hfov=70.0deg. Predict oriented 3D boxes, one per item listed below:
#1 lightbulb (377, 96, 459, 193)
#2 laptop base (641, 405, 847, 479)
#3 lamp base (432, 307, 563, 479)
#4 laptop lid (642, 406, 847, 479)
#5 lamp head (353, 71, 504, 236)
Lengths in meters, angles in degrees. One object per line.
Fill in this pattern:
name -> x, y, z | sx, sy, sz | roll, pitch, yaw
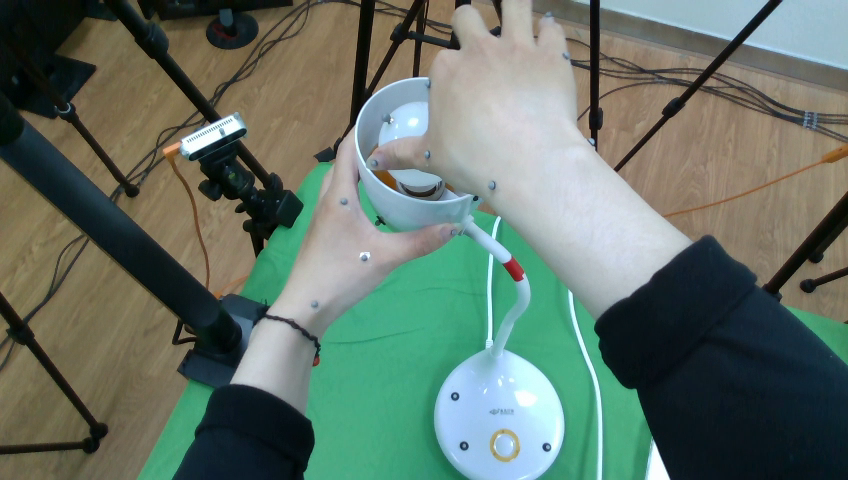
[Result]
lightbulb -> -0.005, -0.065, 0.458 | 0.059, 0.108, 0.059 | 0, 70, -1
laptop base -> 0.414, 0.352, 0.684 | 0.353, 0.023, 0.234 | 17, 66, 8
lamp base -> 0.088, 0.163, 0.685 | 0.161, 0.181, 0.177 | -10, 60, -6
laptop lid -> 0.413, 0.348, 0.672 | 0.356, 0.013, 0.240 | 18, 65, 9
lamp head -> 0.002, -0.053, 0.487 | 0.112, 0.124, 0.111 | 1, 61, -2
